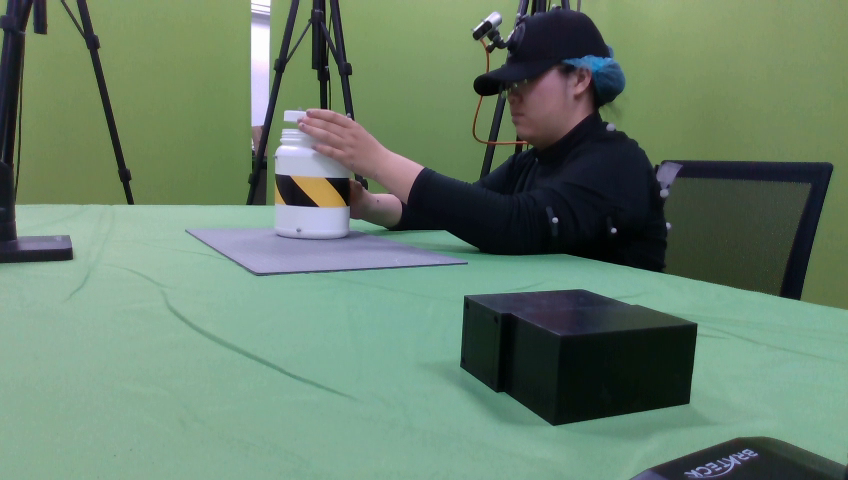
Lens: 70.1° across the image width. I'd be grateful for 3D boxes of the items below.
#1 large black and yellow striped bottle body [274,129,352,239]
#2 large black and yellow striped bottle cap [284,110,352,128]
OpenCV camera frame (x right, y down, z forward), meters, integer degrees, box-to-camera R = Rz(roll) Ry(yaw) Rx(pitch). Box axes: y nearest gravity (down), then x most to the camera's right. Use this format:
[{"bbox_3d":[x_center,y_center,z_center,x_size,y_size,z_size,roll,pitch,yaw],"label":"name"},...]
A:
[{"bbox_3d":[-0.194,-0.099,1.058,0.131,0.184,0.130,3,8,0],"label":"large black and yellow striped bottle body"},{"bbox_3d":[-0.182,-0.207,1.040,0.115,0.019,0.115,6,6,0],"label":"large black and yellow striped bottle cap"}]
